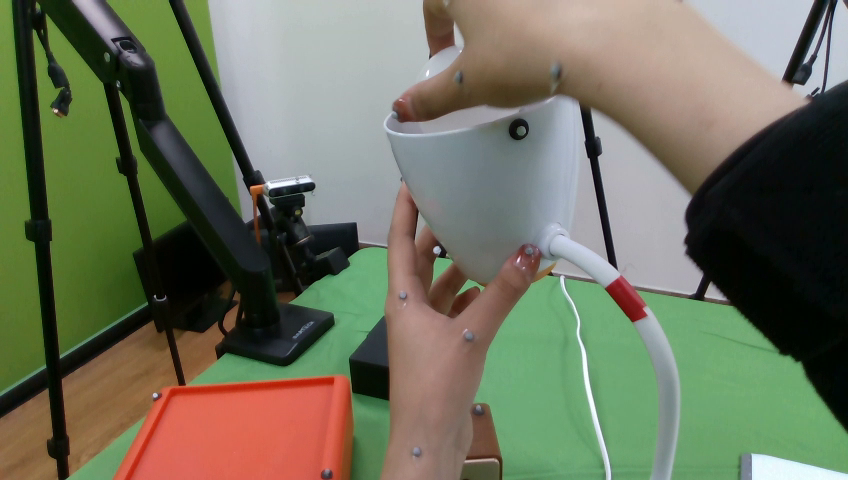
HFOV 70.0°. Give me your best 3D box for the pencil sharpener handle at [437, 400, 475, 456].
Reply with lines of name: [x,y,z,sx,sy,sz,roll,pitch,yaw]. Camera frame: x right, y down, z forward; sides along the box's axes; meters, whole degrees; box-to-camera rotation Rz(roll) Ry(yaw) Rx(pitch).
pencil sharpener handle: [0.028,0.174,0.583,0.036,0.068,0.030,2,25,-4]

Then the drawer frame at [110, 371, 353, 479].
drawer frame: [-0.172,0.221,0.557,0.202,0.083,0.212,-4,24,-2]

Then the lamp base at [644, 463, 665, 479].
lamp base: [0.146,0.242,0.364,0.161,0.181,0.178,-5,21,-5]

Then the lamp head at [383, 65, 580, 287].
lamp head: [0.047,-0.032,0.365,0.112,0.124,0.111,-17,21,7]

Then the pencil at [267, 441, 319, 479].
pencil: [-0.168,0.240,0.528,0.194,0.012,0.012,-35,38,-31]

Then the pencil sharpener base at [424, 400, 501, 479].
pencil sharpener base: [0.033,0.206,0.543,0.061,0.108,0.076,-4,25,-2]

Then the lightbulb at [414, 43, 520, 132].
lightbulb: [0.033,-0.061,0.356,0.059,0.108,0.059,-18,30,11]

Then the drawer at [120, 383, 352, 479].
drawer: [-0.170,0.223,0.555,0.194,0.074,0.210,-4,24,-2]
